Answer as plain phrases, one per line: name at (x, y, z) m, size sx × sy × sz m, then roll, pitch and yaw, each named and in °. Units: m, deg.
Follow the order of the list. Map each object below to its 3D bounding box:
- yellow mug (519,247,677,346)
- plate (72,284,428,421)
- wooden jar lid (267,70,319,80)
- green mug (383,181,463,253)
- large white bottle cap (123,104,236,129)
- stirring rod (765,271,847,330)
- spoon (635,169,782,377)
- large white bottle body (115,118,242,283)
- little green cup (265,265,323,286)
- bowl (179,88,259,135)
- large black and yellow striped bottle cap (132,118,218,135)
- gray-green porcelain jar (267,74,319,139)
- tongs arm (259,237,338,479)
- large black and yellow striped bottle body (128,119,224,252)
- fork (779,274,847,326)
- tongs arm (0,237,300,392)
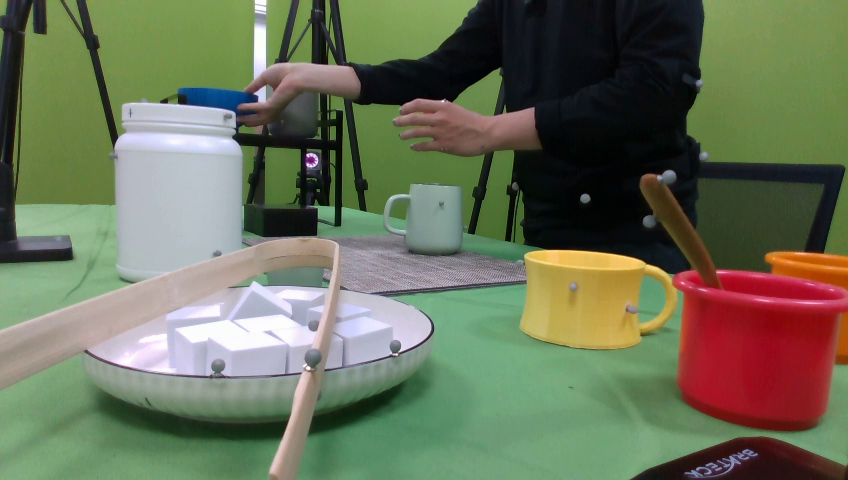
yellow mug at (0.148, 0.045, 0.513) m, size 0.131 × 0.064 × 0.100 m, roll 3°, pitch 7°, yaw 0°
plate at (-0.102, 0.067, 0.381) m, size 0.208 × 0.039 × 0.207 m, roll 3°, pitch 7°, yaw 0°
wooden jar lid at (-0.275, -0.339, 1.271) m, size 0.108 × 0.020 × 0.108 m, roll 5°, pitch 6°, yaw 0°
green mug at (-0.001, -0.036, 0.922) m, size 0.126 × 0.105 × 0.092 m, roll 0°, pitch 8°, yaw -16°
large white bottle cap at (-0.266, -0.135, 0.663) m, size 0.115 × 0.018 × 0.115 m, roll 3°, pitch 7°, yaw 0°
stirring rod at (0.352, 0.020, 0.481) m, size 0.176 × 0.006 × 0.014 m, roll -40°, pitch -8°, yaw 17°
spoon at (0.161, 0.026, 0.346) m, size 0.021 × 0.194 × 0.041 m, roll -51°, pitch 32°, yaw -19°
large white bottle body at (-0.270, -0.051, 0.673) m, size 0.131 × 0.184 × 0.130 m, roll 2°, pitch 8°, yaw 0°
little green cup at (-0.134, 0.033, 0.628) m, size 0.061 × 0.038 × 0.061 m, roll 3°, pitch 7°, yaw 0°
bowl at (-0.402, -0.248, 1.189) m, size 0.151 × 0.077 × 0.151 m, roll 3°, pitch 6°, yaw 0°
large black and yellow striped bottle cap at (-0.359, -0.164, 0.875) m, size 0.115 × 0.019 × 0.115 m, roll 2°, pitch 6°, yaw 0°
gray-green porcelain jar at (-0.278, -0.279, 1.279) m, size 0.106 × 0.126 × 0.106 m, roll 3°, pitch 7°, yaw 0°
tongs arm at (-0.074, 0.040, 0.345) m, size 0.051 × 0.026 × 0.384 m, roll -1°, pitch 9°, yaw -3°
large black and yellow striped bottle body at (-0.361, -0.081, 0.887) m, size 0.131 × 0.184 × 0.130 m, roll 2°, pitch 8°, yaw 0°
fork at (0.332, 0.019, 0.443) m, size 0.028 × 0.018 × 0.207 m, roll -3°, pitch -35°, yaw -16°
tongs arm at (-0.158, 0.038, 0.346) m, size 0.028 × 0.028 × 0.388 m, roll -3°, pitch 8°, yaw 11°
